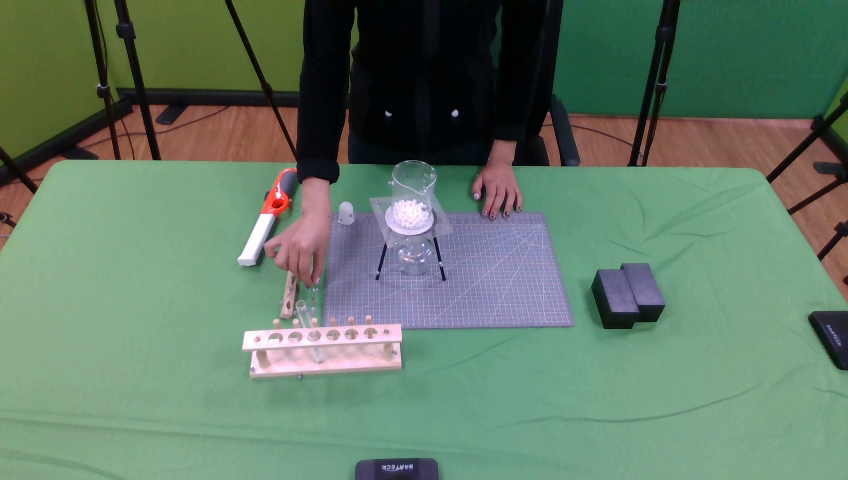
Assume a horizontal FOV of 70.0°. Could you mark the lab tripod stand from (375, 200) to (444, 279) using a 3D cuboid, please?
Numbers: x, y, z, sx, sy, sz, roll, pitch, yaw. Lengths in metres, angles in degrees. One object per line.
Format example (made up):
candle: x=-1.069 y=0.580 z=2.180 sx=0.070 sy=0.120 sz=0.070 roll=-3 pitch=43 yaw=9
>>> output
lab tripod stand: x=-0.023 y=0.004 z=1.114 sx=0.148 sy=0.132 sz=0.147 roll=4 pitch=45 yaw=-3

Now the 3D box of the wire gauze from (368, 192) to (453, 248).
wire gauze: x=-0.025 y=-0.041 z=1.065 sx=0.122 sy=0.011 sz=0.124 roll=-10 pitch=46 yaw=-18

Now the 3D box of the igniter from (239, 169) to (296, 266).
igniter: x=-0.313 y=-0.054 z=1.224 sx=0.057 sy=0.025 sz=0.275 roll=1 pitch=45 yaw=10

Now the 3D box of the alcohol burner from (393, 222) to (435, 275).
alcohol burner: x=-0.018 y=0.009 z=1.122 sx=0.078 sy=0.119 sz=0.077 roll=3 pitch=47 yaw=-3

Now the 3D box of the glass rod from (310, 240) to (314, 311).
glass rod: x=-0.207 y=0.062 z=1.118 sx=0.008 sy=0.008 sz=0.198 roll=-4 pitch=37 yaw=-7

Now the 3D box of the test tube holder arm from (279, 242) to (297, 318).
test tube holder arm: x=-0.249 y=0.069 z=1.114 sx=0.013 sy=0.015 sz=0.177 roll=25 pitch=38 yaw=-27

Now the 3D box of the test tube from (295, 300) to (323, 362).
test tube: x=-0.176 y=0.143 z=0.935 sx=0.017 sy=0.151 sz=0.017 roll=-2 pitch=46 yaw=2

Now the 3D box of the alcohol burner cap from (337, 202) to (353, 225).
alcohol burner cap: x=-0.161 y=-0.056 z=1.223 sx=0.034 sy=0.048 sz=0.033 roll=2 pitch=46 yaw=-2

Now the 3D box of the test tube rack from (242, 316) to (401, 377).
test tube rack: x=-0.161 y=0.166 z=0.983 sx=0.242 sy=0.085 sz=0.066 roll=-2 pitch=46 yaw=-6

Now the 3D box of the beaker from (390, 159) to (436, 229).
beaker: x=-0.020 y=-0.073 z=1.029 sx=0.074 sy=0.101 sz=0.083 roll=-10 pitch=48 yaw=-16

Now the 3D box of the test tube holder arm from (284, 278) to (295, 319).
test tube holder arm: x=-0.242 y=0.103 z=1.085 sx=0.010 sy=0.015 sz=0.087 roll=26 pitch=38 yaw=-27
